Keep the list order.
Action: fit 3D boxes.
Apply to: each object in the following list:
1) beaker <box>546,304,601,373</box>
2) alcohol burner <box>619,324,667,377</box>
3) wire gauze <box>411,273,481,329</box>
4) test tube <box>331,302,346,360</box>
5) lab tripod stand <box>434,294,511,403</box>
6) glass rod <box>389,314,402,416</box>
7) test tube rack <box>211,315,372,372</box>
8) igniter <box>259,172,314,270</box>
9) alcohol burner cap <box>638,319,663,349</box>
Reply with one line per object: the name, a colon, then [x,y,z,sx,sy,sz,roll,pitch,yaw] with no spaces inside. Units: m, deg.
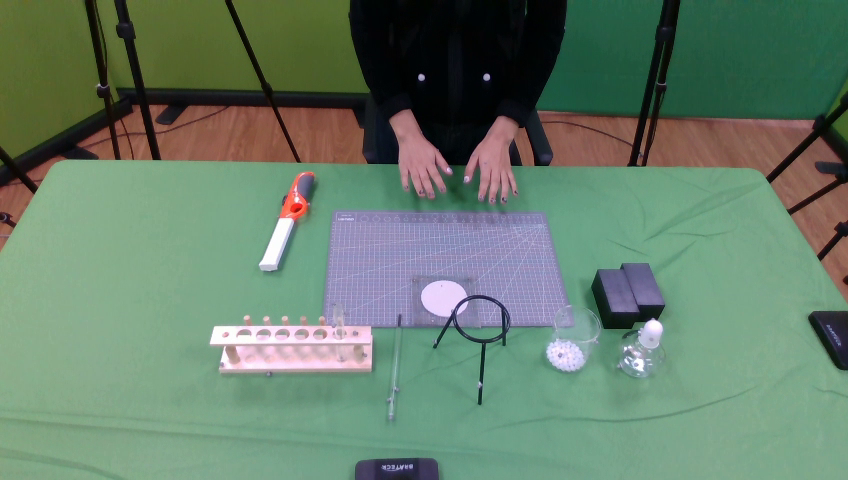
beaker: [0.242,0.167,1.001,0.084,0.101,0.073,-32,55,-28]
alcohol burner: [0.363,0.172,0.995,0.078,0.120,0.077,1,48,-1]
wire gauze: [0.038,0.108,1.103,0.125,0.011,0.120,2,47,-3]
test tube: [-0.132,0.144,0.938,0.017,0.151,0.017,2,49,-3]
lab tripod stand: [0.087,0.164,0.969,0.148,0.132,0.147,3,47,-3]
glass rod: [-0.048,0.203,1.007,0.008,0.008,0.198,4,45,0]
test tube rack: [-0.208,0.163,0.982,0.242,0.085,0.066,1,46,-4]
igniter: [-0.273,-0.046,1.220,0.057,0.025,0.275,0,45,11]
alcohol burner cap: [0.364,0.147,0.968,0.034,0.048,0.033,-1,44,1]
